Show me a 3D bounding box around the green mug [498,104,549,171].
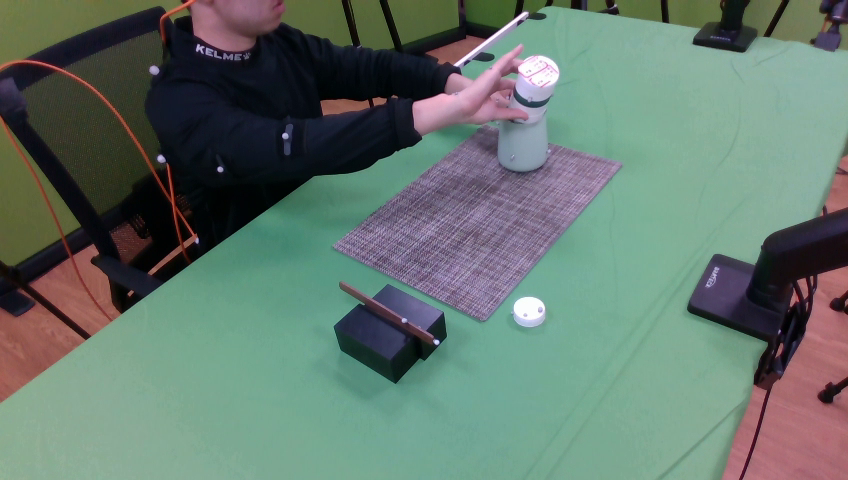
[{"bbox_3d":[0.182,-0.197,1.101,0.092,0.105,0.125,3,41,12],"label":"green mug"}]

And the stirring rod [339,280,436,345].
[{"bbox_3d":[-0.052,0.093,0.795,0.174,0.014,0.006,27,47,33],"label":"stirring rod"}]

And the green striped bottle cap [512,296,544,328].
[{"bbox_3d":[0.144,0.099,0.837,0.044,0.020,0.044,-2,44,2],"label":"green striped bottle cap"}]

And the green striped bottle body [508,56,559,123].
[{"bbox_3d":[0.176,-0.239,0.994,0.063,0.119,0.063,2,64,-4],"label":"green striped bottle body"}]
